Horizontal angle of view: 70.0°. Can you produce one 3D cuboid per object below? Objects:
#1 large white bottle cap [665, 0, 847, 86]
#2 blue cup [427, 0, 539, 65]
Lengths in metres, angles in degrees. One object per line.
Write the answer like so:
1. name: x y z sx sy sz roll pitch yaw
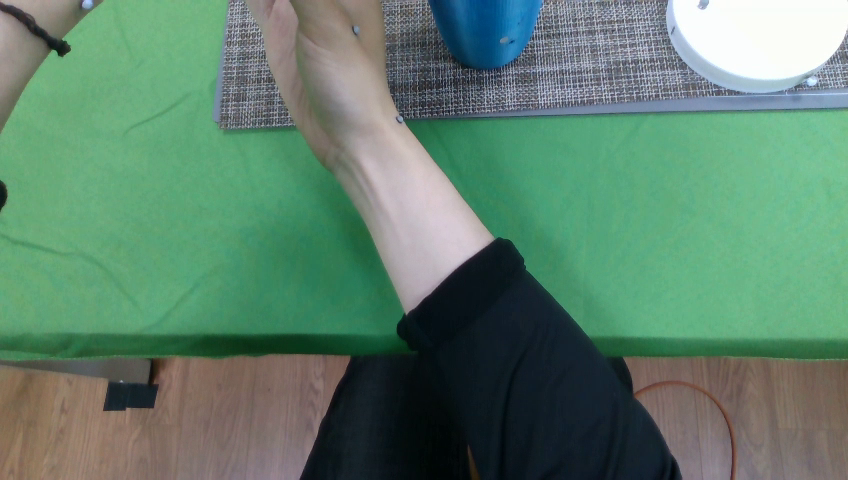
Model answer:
1. large white bottle cap: 0.226 -0.160 0.414 0.115 0.018 0.114 -1 74 5
2. blue cup: 0.038 -0.166 0.391 0.092 0.101 0.092 -2 74 7
